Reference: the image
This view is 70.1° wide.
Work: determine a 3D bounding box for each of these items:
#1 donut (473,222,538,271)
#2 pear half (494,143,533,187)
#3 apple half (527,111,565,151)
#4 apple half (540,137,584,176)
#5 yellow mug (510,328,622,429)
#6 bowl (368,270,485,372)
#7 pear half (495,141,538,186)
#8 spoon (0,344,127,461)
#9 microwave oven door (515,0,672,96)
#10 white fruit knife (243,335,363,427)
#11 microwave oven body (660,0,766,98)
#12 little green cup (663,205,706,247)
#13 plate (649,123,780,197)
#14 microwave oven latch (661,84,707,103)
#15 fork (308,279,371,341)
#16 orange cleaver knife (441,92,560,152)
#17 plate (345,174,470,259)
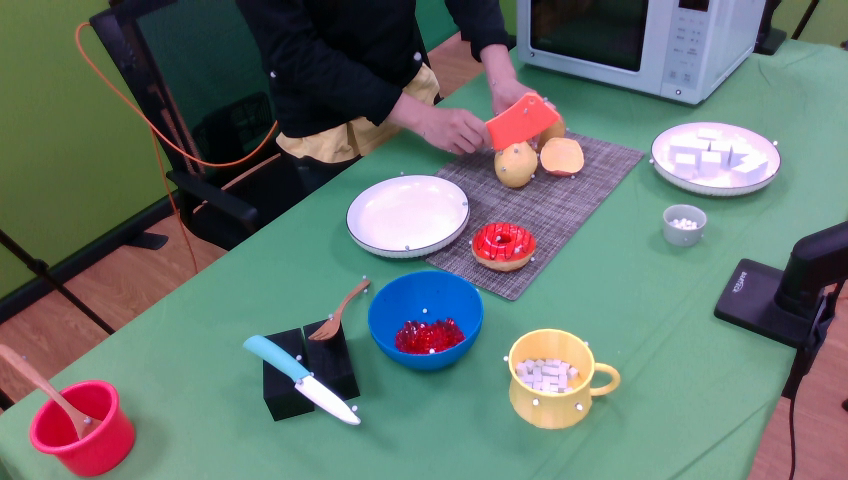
[{"bbox_3d":[0.123,0.009,0.923,0.099,0.048,0.098,-3,38,3],"label":"donut"},{"bbox_3d":[0.152,-0.123,1.040,0.070,0.088,0.031,13,47,11],"label":"pear half"},{"bbox_3d":[0.224,-0.212,1.145,0.080,0.075,0.053,-6,36,9],"label":"apple half"},{"bbox_3d":[0.247,-0.146,1.089,0.081,0.033,0.081,-1,65,3],"label":"apple half"},{"bbox_3d":[0.168,0.164,0.721,0.130,0.064,0.099,1,40,8],"label":"yellow mug"},{"bbox_3d":[0.007,0.118,0.791,0.151,0.077,0.150,-5,40,4],"label":"bowl"},{"bbox_3d":[0.164,-0.153,1.058,0.076,0.110,0.056,11,46,13],"label":"pear half"},{"bbox_3d":[-0.433,0.191,0.721,0.194,0.021,0.042,47,53,-6],"label":"spoon"},{"bbox_3d":[0.343,-0.455,1.259,0.353,0.245,0.039,26,51,33],"label":"microwave oven door"},{"bbox_3d":[-0.148,0.167,0.729,0.206,0.016,0.027,27,80,31],"label":"white fruit knife"},{"bbox_3d":[0.472,-0.513,1.317,0.438,0.261,0.327,26,51,34],"label":"microwave oven body"},{"bbox_3d":[0.396,-0.020,0.926,0.061,0.039,0.061,-4,40,4],"label":"little green cup"},{"bbox_3d":[0.497,-0.135,1.046,0.207,0.039,0.206,-4,40,4],"label":"plate"},{"bbox_3d":[0.517,-0.296,1.204,0.078,0.029,0.030,27,52,35],"label":"microwave oven latch"},{"bbox_3d":[-0.109,0.093,0.832,0.028,0.018,0.207,-4,19,15],"label":"fork"},{"bbox_3d":[0.124,-0.182,1.016,0.210,0.077,0.012,-20,33,36],"label":"orange cleaver knife"},{"bbox_3d":[-0.026,-0.037,1.004,0.209,0.038,0.208,-4,40,4],"label":"plate"}]
